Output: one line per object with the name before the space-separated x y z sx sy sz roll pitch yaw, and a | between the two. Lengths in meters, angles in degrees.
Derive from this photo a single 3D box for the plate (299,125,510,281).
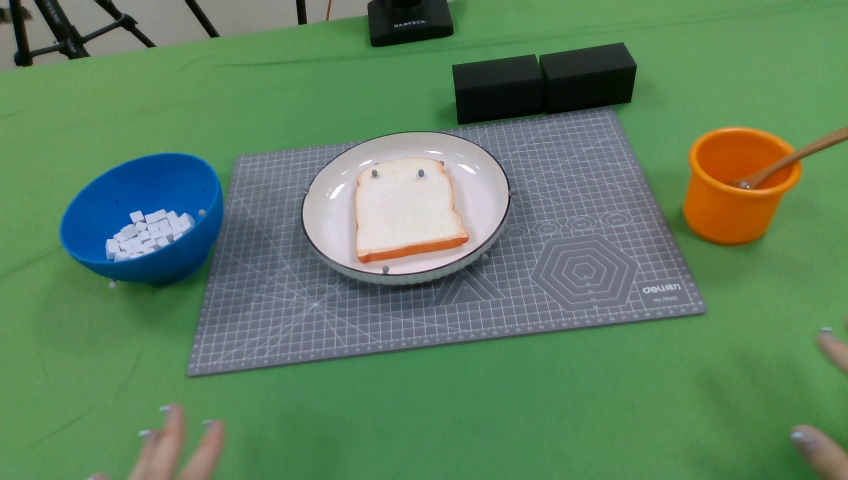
plate | -0.020 -0.037 0.609 0.209 0.038 0.207 -4 48 5

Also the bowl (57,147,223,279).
bowl | -0.264 -0.014 0.599 0.151 0.077 0.150 -4 48 5

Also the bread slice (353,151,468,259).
bread slice | -0.023 -0.039 0.615 0.107 0.018 0.133 -13 49 -3

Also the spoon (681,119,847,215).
spoon | 0.314 -0.071 0.522 0.022 0.194 0.041 32 48 -23
